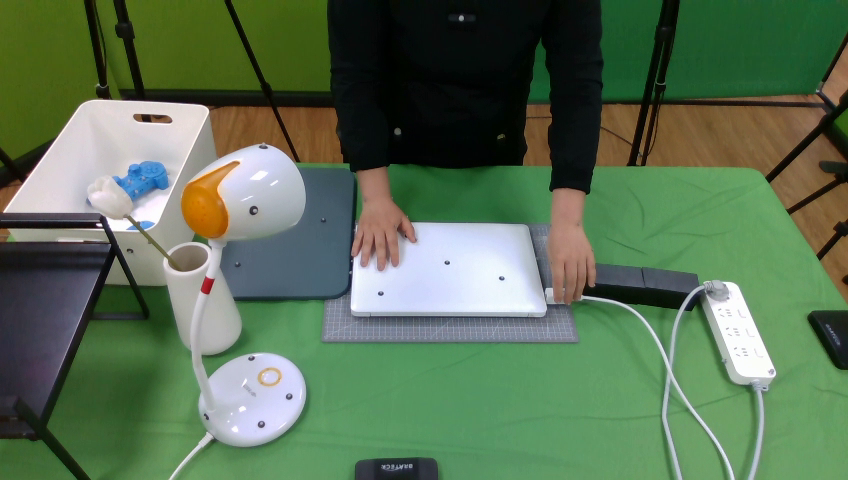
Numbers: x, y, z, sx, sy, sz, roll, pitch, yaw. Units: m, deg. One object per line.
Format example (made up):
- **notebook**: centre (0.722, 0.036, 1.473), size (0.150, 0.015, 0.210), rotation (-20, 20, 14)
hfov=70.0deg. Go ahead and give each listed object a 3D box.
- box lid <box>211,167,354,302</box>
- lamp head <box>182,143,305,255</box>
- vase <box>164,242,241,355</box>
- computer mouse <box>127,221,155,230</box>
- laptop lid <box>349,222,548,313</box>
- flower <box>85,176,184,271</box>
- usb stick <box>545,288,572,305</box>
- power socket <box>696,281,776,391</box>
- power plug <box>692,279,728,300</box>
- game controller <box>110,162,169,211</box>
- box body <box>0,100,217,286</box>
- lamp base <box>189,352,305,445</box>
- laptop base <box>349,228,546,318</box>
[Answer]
- **box lid**: centre (-0.277, -0.024, 1.205), size (0.263, 0.015, 0.369), rotation (0, 46, -3)
- **lamp head**: centre (-0.216, -0.044, 0.697), size (0.112, 0.113, 0.123), rotation (23, 31, 17)
- **vase**: centre (-0.349, 0.096, 0.954), size (0.098, 0.201, 0.097), rotation (3, 47, -3)
- **computer mouse**: centre (-0.537, 0.009, 1.127), size (0.062, 0.041, 0.117), rotation (31, 55, 21)
- **laptop lid**: centre (0.041, 0.046, 1.143), size (0.357, 0.013, 0.240), rotation (2, 43, -3)
- **flower**: centre (-0.365, 0.038, 0.894), size (0.038, 0.364, 0.044), rotation (-6, 53, 14)
- **usb stick**: centre (0.237, 0.102, 1.102), size (0.059, 0.027, 0.021), rotation (-3, 46, 3)
- **power socket**: centre (0.550, 0.160, 1.078), size (0.072, 0.033, 0.225), rotation (2, 46, -1)
- **power plug**: centre (0.522, 0.091, 1.116), size (0.072, 0.053, 0.035), rotation (10, 47, 8)
- **game controller**: centre (-0.597, -0.113, 1.234), size (0.097, 0.052, 0.155), rotation (29, 51, 20)
- **box body**: centre (-0.559, -0.092, 1.145), size (0.254, 0.161, 0.361), rotation (3, 46, -2)
- **lamp base**: centre (-0.268, 0.196, 0.876), size (0.160, 0.181, 0.179), rotation (26, 52, 20)
- **laptop base**: centre (0.041, 0.056, 1.149), size (0.355, 0.023, 0.234), rotation (1, 43, -4)
